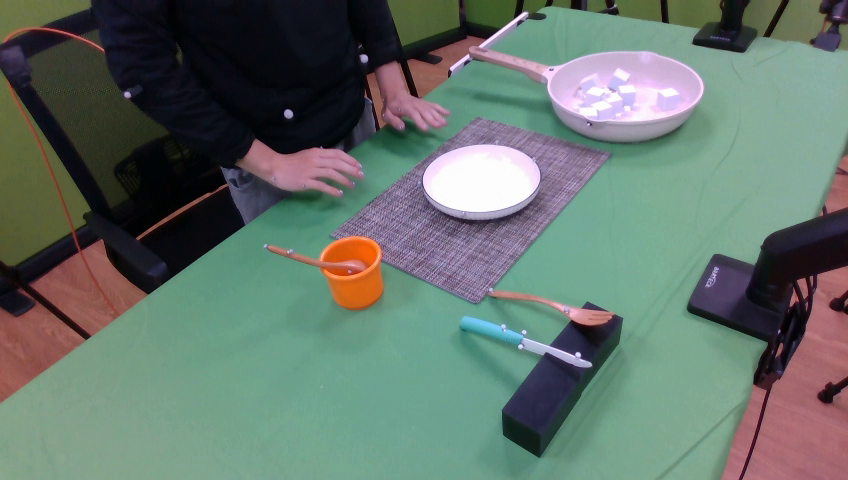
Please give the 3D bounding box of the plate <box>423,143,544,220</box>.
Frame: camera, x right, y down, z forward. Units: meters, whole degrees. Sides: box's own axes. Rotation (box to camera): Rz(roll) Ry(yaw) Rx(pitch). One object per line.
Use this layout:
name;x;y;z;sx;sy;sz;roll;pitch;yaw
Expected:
plate;0.102;-0.097;1.048;0.207;0.039;0.206;-4;40;4

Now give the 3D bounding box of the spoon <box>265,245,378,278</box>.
spoon;-0.137;0.031;0.846;0.195;0.021;0.041;13;15;-45

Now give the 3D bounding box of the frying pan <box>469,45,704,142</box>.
frying pan;0.307;-0.326;1.239;0.485;0.103;0.307;26;49;22

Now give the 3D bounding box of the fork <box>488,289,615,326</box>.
fork;0.160;0.086;0.800;0.205;0.019;0.028;12;48;48

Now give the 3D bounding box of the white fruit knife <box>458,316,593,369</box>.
white fruit knife;0.120;0.127;0.757;0.205;0.027;0.016;12;43;43
